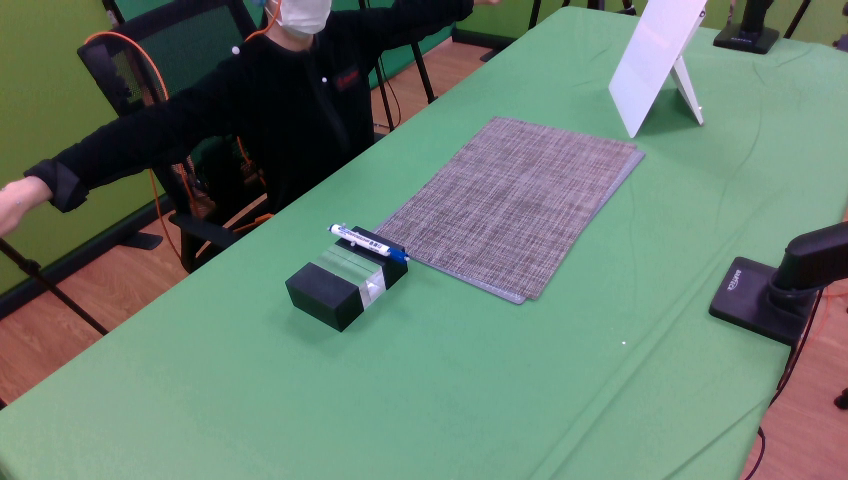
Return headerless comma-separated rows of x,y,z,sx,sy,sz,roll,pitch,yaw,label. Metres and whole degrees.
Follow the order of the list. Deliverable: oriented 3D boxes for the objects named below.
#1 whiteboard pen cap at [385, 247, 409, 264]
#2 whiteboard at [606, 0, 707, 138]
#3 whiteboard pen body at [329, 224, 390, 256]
-0.039,0.022,0.878,0.033,0.018,0.018,24,49,29,whiteboard pen cap
0.496,-0.359,1.147,0.144,0.305,0.216,11,40,-7,whiteboard
-0.088,0.003,0.909,0.139,0.017,0.017,21,48,30,whiteboard pen body
